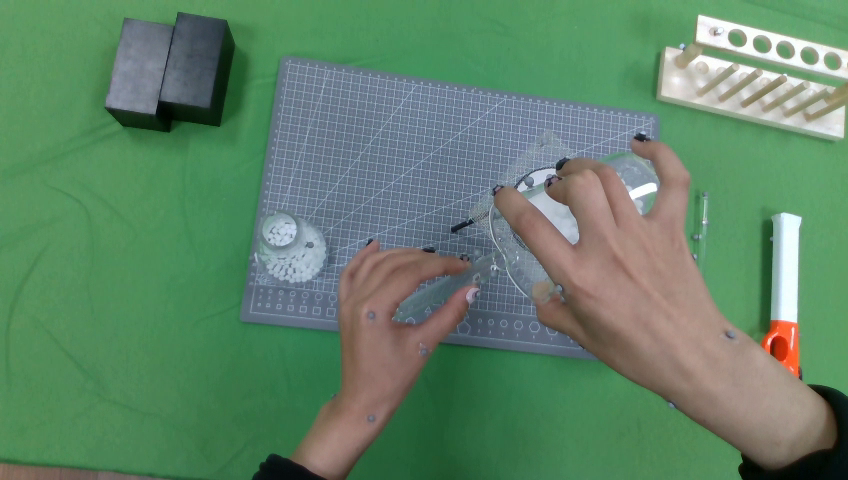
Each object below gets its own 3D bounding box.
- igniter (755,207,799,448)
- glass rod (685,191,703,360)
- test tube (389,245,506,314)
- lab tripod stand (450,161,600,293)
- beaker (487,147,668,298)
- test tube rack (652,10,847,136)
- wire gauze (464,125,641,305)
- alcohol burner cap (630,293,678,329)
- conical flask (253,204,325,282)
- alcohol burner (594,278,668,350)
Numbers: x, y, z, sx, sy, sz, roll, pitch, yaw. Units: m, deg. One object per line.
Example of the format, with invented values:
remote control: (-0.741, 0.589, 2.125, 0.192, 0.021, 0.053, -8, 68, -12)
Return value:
igniter: (0.408, 0.098, 0.698, 0.057, 0.025, 0.275, 11, 79, -16)
glass rod: (0.315, 0.039, 0.705, 0.008, 0.008, 0.199, 9, 82, -6)
test tube: (0.014, 0.035, 0.488, 0.017, 0.150, 0.017, 15, 62, -30)
lab tripod stand: (0.108, -0.017, 0.620, 0.148, 0.131, 0.148, 1, 81, -6)
beaker: (0.102, -0.014, 0.407, 0.100, 0.084, 0.074, -23, 86, -15)
test tube rack: (0.408, -0.193, 0.718, 0.243, 0.085, 0.066, 11, 79, -5)
wire gauze: (0.118, -0.026, 0.554, 0.125, 0.011, 0.121, 44, 79, 1)
alcohol burner cap: (0.229, 0.067, 0.595, 0.034, 0.048, 0.033, 3, 74, -11)
conical flask: (-0.136, -0.002, 0.590, 0.075, 0.122, 0.075, 1, 80, -7)
alcohol burner: (0.224, 0.075, 0.630, 0.078, 0.119, 0.077, 1, 79, -5)
